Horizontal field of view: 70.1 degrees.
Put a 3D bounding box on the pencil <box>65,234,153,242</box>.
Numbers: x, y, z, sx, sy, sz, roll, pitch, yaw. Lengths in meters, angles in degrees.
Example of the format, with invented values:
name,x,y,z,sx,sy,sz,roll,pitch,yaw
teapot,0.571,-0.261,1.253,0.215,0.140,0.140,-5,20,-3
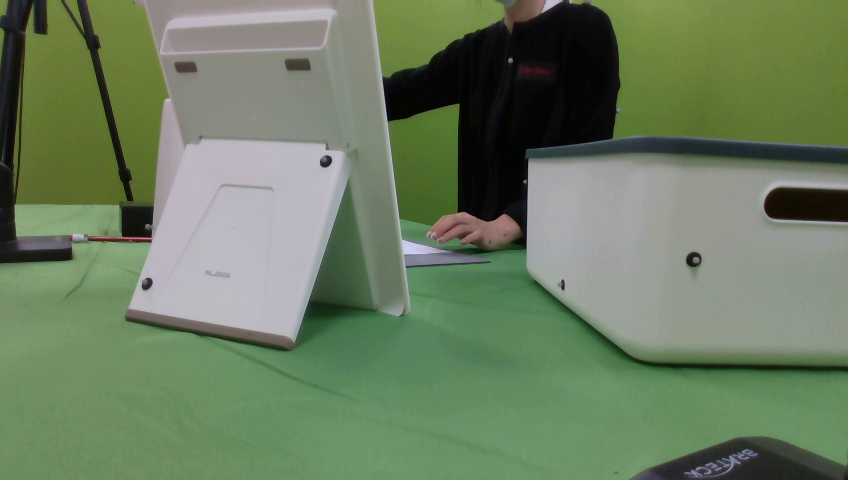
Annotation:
name,x,y,z,sx,sy,sz,roll,pitch,yaw
pencil,-0.429,-0.001,0.911,0.195,0.012,0.012,1,8,-19

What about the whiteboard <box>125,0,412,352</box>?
name,x,y,z,sx,sy,sz,roll,pitch,yaw
whiteboard,-0.151,-0.049,0.472,0.216,0.305,0.144,6,27,24

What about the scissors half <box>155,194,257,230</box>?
name,x,y,z,sx,sy,sz,roll,pitch,yaw
scissors half,-0.378,-0.051,1.058,0.176,0.040,0.012,20,22,-31

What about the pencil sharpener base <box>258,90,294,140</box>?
name,x,y,z,sx,sy,sz,roll,pitch,yaw
pencil sharpener base,-0.341,-0.285,1.388,0.062,0.107,0.076,-3,9,-36

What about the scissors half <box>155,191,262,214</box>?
name,x,y,z,sx,sy,sz,roll,pitch,yaw
scissors half,-0.371,-0.069,1.051,0.176,0.040,0.013,2,25,-24

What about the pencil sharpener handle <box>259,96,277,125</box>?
name,x,y,z,sx,sy,sz,roll,pitch,yaw
pencil sharpener handle,-0.373,-0.304,1.425,0.036,0.067,0.030,13,-1,-37

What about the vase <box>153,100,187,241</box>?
name,x,y,z,sx,sy,sz,roll,pitch,yaw
vase,-0.278,-0.066,0.736,0.098,0.200,0.098,2,9,0

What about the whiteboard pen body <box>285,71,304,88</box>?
name,x,y,z,sx,sy,sz,roll,pitch,yaw
whiteboard pen body,-0.236,-0.295,1.109,0.017,0.017,0.140,-1,6,-22

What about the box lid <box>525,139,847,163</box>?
name,x,y,z,sx,sy,sz,roll,pitch,yaw
box lid,0.261,-0.078,0.580,0.264,0.015,0.371,2,7,-4

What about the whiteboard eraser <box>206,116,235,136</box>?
name,x,y,z,sx,sy,sz,roll,pitch,yaw
whiteboard eraser,-0.449,-0.251,1.335,0.056,0.042,0.112,1,7,-22

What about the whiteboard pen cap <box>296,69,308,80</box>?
name,x,y,z,sx,sy,sz,roll,pitch,yaw
whiteboard pen cap,-0.213,-0.287,1.056,0.018,0.018,0.033,-1,7,-22

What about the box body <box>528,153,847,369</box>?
name,x,y,z,sx,sy,sz,roll,pitch,yaw
box body,0.258,-0.005,0.591,0.254,0.160,0.363,2,7,-4

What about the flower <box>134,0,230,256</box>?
name,x,y,z,sx,sy,sz,roll,pitch,yaw
flower,-0.282,-0.146,0.713,0.038,0.362,0.044,-23,23,-30
